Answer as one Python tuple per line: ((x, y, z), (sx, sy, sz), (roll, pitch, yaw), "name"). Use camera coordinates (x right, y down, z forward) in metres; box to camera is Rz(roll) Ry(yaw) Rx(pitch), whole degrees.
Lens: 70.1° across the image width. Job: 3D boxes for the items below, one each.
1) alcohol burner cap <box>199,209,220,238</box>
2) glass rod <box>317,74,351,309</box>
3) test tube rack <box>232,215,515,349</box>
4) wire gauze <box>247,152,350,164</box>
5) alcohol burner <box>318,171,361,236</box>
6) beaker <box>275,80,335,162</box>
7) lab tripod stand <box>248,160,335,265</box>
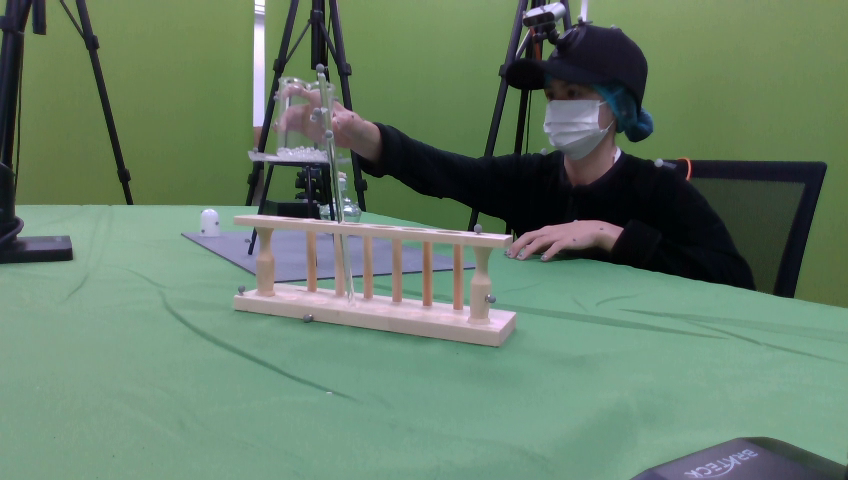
((-0.356, -0.027, 1.002), (0.034, 0.048, 0.034), (2, 7, 0), "alcohol burner cap")
((-0.075, -0.036, 0.502), (0.008, 0.199, 0.008), (-5, 8, 1), "glass rod")
((-0.045, 0.028, 0.526), (0.242, 0.085, 0.067), (5, 8, 19), "test tube rack")
((-0.170, -0.106, 0.802), (0.122, 0.011, 0.124), (1, 9, -20), "wire gauze")
((-0.155, -0.067, 1.104), (0.078, 0.119, 0.078), (1, 8, 0), "alcohol burner")
((-0.157, -0.154, 0.796), (0.074, 0.100, 0.083), (3, 6, -16), "beaker")
((-0.165, -0.041, 0.817), (0.148, 0.131, 0.148), (5, 7, 0), "lab tripod stand")
